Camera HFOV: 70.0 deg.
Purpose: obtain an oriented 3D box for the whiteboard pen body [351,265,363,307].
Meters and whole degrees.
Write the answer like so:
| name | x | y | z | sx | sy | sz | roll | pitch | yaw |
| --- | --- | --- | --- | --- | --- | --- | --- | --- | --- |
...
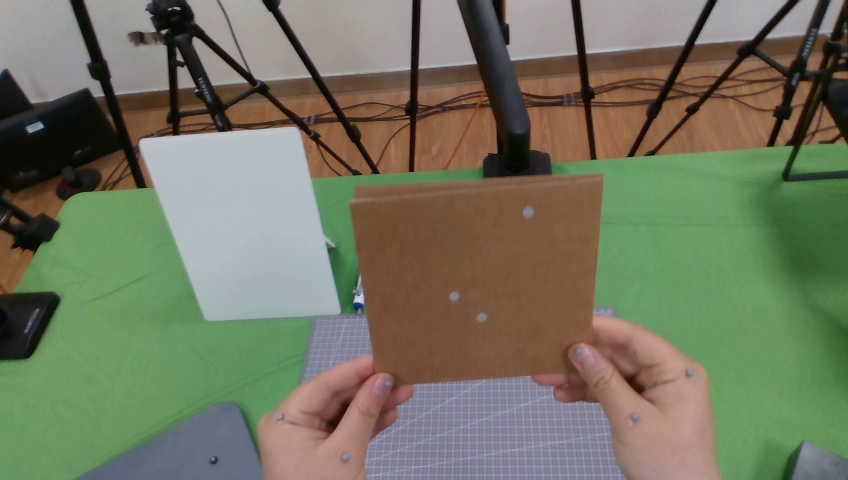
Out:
| name | x | y | z | sx | sy | sz | roll | pitch | yaw |
| --- | --- | --- | --- | --- | --- | --- | --- | --- | --- |
| whiteboard pen body | -0.099 | 0.045 | 0.962 | 0.017 | 0.017 | 0.139 | -2 | 50 | 8 |

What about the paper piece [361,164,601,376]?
| name | x | y | z | sx | sy | sz | roll | pitch | yaw |
| --- | --- | --- | --- | --- | --- | --- | --- | --- | --- |
| paper piece | 0.033 | 0.022 | 0.363 | 0.135 | 0.139 | 0.008 | 3 | 29 | 16 |

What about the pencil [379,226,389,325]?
| name | x | y | z | sx | sy | sz | roll | pitch | yaw |
| --- | --- | --- | --- | --- | --- | --- | --- | --- | --- |
| pencil | -0.064 | 0.052 | 0.955 | 0.012 | 0.012 | 0.192 | -5 | 50 | 6 |

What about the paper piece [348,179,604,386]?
| name | x | y | z | sx | sy | sz | roll | pitch | yaw |
| --- | --- | --- | --- | --- | --- | --- | --- | --- | --- |
| paper piece | 0.033 | 0.031 | 0.347 | 0.135 | 0.137 | 0.004 | -5 | 33 | 0 |

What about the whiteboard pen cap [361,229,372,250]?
| name | x | y | z | sx | sy | sz | roll | pitch | yaw |
| --- | --- | --- | --- | --- | --- | --- | --- | --- | --- |
| whiteboard pen cap | -0.094 | 0.000 | 0.997 | 0.018 | 0.018 | 0.033 | -4 | 49 | 7 |

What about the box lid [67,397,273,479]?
| name | x | y | z | sx | sy | sz | roll | pitch | yaw |
| --- | --- | --- | --- | --- | --- | --- | --- | --- | --- |
| box lid | -0.289 | 0.383 | 0.718 | 0.263 | 0.015 | 0.367 | -28 | 52 | -13 |

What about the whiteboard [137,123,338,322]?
| name | x | y | z | sx | sy | sz | roll | pitch | yaw |
| --- | --- | --- | --- | --- | --- | --- | --- | --- | --- |
| whiteboard | -0.246 | -0.044 | 0.911 | 0.217 | 0.308 | 0.142 | -3 | 31 | 8 |

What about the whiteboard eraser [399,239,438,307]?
| name | x | y | z | sx | sy | sz | roll | pitch | yaw |
| --- | --- | --- | --- | --- | --- | --- | --- | --- | --- |
| whiteboard eraser | -0.008 | 0.051 | 0.926 | 0.055 | 0.042 | 0.111 | -4 | 51 | 8 |
